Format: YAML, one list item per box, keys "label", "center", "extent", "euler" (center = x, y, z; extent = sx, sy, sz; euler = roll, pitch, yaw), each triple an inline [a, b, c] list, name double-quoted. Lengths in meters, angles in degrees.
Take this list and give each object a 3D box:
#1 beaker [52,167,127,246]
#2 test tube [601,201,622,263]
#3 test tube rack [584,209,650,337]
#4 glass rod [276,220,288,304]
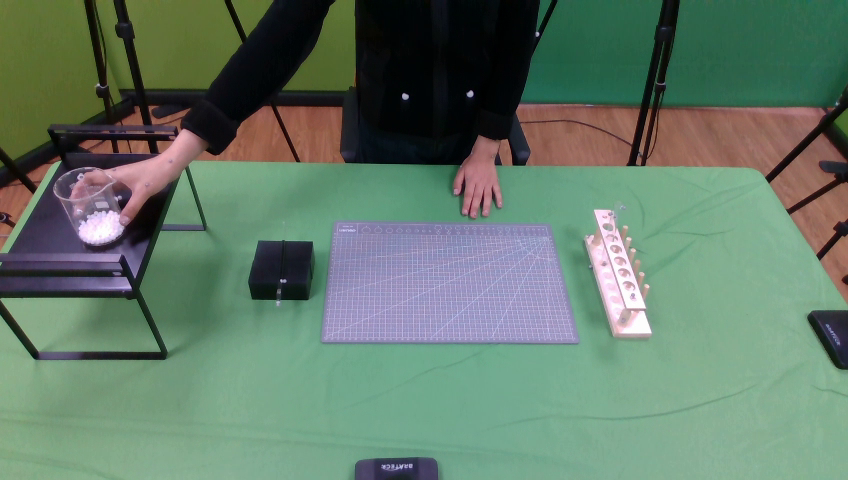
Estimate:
- label: "beaker"
  center: [-0.490, -0.048, 0.903]
  extent: [0.084, 0.101, 0.073]
  euler: [-15, 49, -18]
- label: "test tube"
  center: [0.346, -0.012, 1.124]
  extent: [0.017, 0.151, 0.017]
  euler: [-2, 44, 2]
- label: "test tube rack"
  center: [0.365, 0.056, 1.129]
  extent: [0.067, 0.085, 0.240]
  euler: [1, 46, -4]
- label: "glass rod"
  center: [-0.255, 0.036, 1.086]
  extent: [0.008, 0.008, 0.198]
  euler: [-1, 46, -6]
